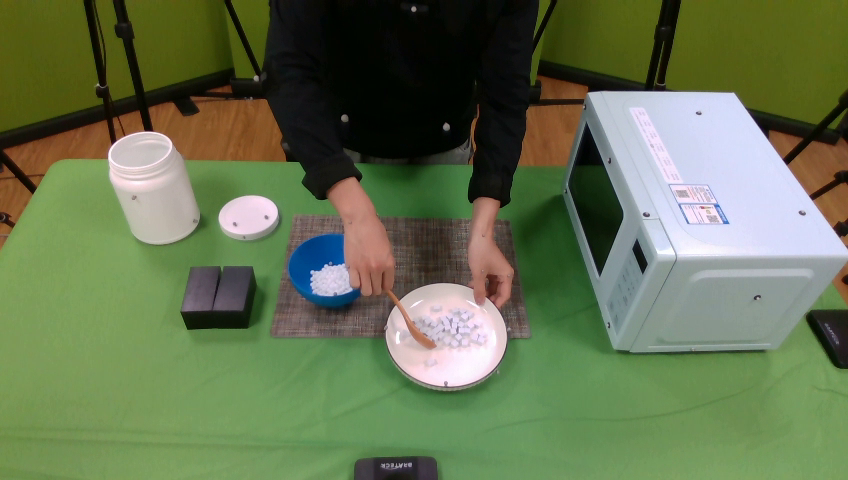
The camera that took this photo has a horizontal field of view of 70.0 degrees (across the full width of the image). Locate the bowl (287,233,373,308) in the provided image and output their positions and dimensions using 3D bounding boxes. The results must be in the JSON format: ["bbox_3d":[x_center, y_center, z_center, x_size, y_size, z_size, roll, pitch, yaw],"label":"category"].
[{"bbox_3d":[-0.165,0.068,1.078,0.151,0.077,0.150,3,46,-2],"label":"bowl"}]

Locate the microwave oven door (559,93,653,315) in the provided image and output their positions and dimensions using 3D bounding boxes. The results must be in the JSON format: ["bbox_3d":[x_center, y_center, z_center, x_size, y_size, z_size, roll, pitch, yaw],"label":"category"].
[{"bbox_3d":[0.327,-0.074,1.123,0.039,0.245,0.353,-1,46,-5],"label":"microwave oven door"}]

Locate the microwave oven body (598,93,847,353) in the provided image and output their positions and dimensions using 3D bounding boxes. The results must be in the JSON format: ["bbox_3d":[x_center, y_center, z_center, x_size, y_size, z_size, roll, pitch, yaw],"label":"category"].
[{"bbox_3d":[0.475,-0.041,1.109,0.326,0.261,0.438,-1,45,-4],"label":"microwave oven body"}]

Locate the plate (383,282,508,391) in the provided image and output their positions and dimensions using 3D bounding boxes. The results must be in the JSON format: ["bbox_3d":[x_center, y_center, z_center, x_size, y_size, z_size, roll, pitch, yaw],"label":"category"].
[{"bbox_3d":[0.035,0.165,1.027,0.209,0.038,0.208,1,50,-1],"label":"plate"}]

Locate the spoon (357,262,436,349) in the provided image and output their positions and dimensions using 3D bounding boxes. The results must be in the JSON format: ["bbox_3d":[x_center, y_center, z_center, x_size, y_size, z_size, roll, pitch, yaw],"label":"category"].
[{"bbox_3d":[-0.047,0.109,1.011,0.021,0.041,0.193,-37,87,-20],"label":"spoon"}]

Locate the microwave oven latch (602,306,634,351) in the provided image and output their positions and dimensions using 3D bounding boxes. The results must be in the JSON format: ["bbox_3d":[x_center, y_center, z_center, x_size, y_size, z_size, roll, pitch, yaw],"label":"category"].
[{"bbox_3d":[0.332,0.153,1.044,0.030,0.029,0.078,0,45,-4],"label":"microwave oven latch"}]

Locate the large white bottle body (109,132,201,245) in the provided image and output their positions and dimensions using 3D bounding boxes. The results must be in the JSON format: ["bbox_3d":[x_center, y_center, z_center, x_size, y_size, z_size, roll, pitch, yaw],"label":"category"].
[{"bbox_3d":[-0.506,-0.097,1.141,0.131,0.185,0.130,2,46,-2],"label":"large white bottle body"}]

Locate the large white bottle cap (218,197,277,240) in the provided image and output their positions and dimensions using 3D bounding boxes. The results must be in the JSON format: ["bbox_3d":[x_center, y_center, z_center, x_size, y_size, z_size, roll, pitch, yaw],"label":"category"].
[{"bbox_3d":[-0.355,-0.045,1.220,0.115,0.018,0.114,2,45,-2],"label":"large white bottle cap"}]
